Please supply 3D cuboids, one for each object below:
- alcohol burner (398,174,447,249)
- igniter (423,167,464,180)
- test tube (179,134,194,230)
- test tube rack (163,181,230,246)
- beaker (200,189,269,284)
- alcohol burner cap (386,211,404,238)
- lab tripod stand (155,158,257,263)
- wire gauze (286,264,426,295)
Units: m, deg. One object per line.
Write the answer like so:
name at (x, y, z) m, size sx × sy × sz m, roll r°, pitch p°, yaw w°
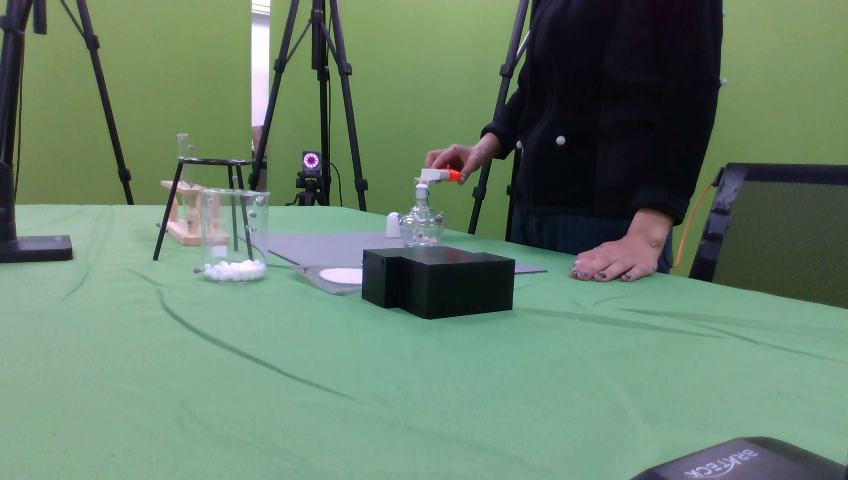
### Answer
alcohol burner at (-0.003, -0.046, 0.973) m, size 0.078 × 0.119 × 0.078 m, roll 0°, pitch 7°, yaw 0°
igniter at (0.039, -0.123, 1.117) m, size 0.057 × 0.025 × 0.277 m, roll 5°, pitch 7°, yaw 10°
test tube at (-0.366, -0.089, 0.938) m, size 0.017 × 0.150 × 0.017 m, roll -1°, pitch 9°, yaw 1°
test tube rack at (-0.387, -0.050, 1.015) m, size 0.067 × 0.085 × 0.241 m, roll -2°, pitch 9°, yaw -30°
beaker at (-0.209, -0.006, 0.676) m, size 0.073 × 0.100 × 0.084 m, roll 7°, pitch 7°, yaw 28°
alcohol burner cap at (-0.053, -0.029, 1.107) m, size 0.034 × 0.048 × 0.034 m, roll 2°, pitch 9°, yaw 0°
lab tripod stand at (-0.275, -0.041, 0.797) m, size 0.148 × 0.131 × 0.148 m, roll 2°, pitch 9°, yaw 0°
wire gauze at (-0.079, 0.039, 0.692) m, size 0.122 × 0.011 × 0.124 m, roll -4°, pitch 11°, yaw -37°
